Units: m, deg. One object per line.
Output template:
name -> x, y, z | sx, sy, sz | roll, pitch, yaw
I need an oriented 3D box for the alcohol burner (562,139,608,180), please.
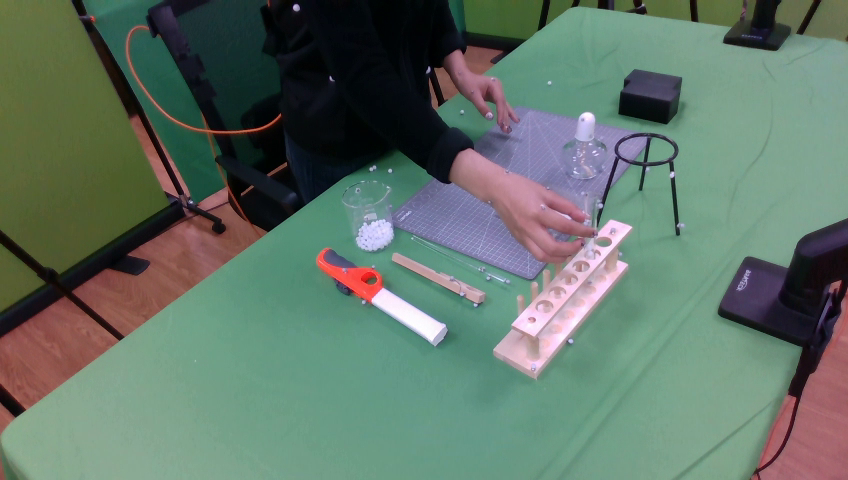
alcohol burner -> 0.281, -0.166, 1.051 | 0.078, 0.119, 0.077 | -5, 39, 4

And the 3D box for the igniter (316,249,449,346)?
igniter -> -0.073, 0.078, 0.902 | 0.274, 0.025, 0.057 | 28, 63, 36

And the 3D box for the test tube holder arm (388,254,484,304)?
test tube holder arm -> 0.015, 0.056, 0.915 | 0.177, 0.015, 0.013 | 23, 12, 32

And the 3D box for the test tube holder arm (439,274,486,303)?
test tube holder arm -> 0.053, 0.071, 0.895 | 0.087, 0.015, 0.010 | 24, 12, 33

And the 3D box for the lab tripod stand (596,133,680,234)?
lab tripod stand -> 0.338, -0.090, 0.940 | 0.148, 0.132, 0.147 | -7, 38, 6

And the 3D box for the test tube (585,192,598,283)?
test tube -> 0.218, 0.001, 0.789 | 0.017, 0.151, 0.017 | -7, 40, 7

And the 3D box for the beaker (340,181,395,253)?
beaker -> -0.086, -0.037, 0.985 | 0.084, 0.101, 0.073 | -18, 41, -11

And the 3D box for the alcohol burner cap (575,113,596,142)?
alcohol burner cap -> 0.277, -0.193, 1.028 | 0.034, 0.048, 0.033 | -2, 45, 3

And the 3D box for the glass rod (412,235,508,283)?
glass rod -> 0.052, 0.028, 0.951 | 0.198, 0.008, 0.008 | 25, 52, 37

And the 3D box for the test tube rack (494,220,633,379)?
test tube rack -> 0.191, 0.068, 0.818 | 0.066, 0.085, 0.243 | 25, 51, 35

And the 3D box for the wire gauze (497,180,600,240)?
wire gauze -> 0.207, -0.050, 1.011 | 0.125, 0.011, 0.120 | -34, 45, -26
